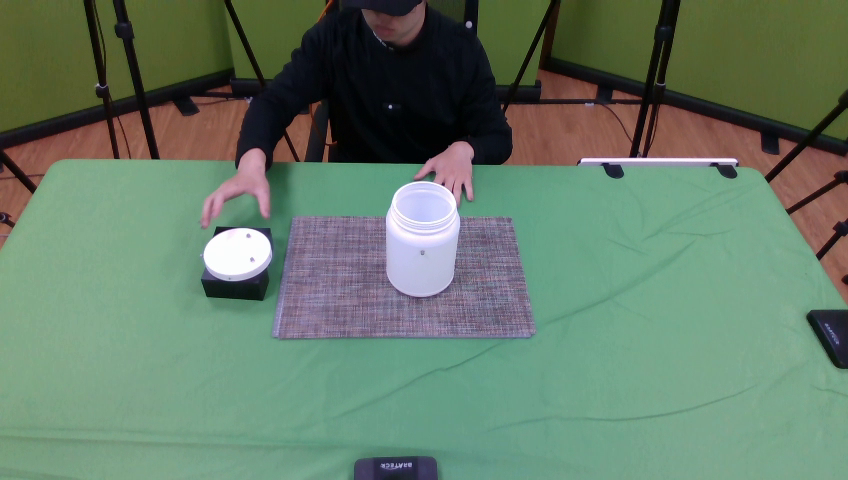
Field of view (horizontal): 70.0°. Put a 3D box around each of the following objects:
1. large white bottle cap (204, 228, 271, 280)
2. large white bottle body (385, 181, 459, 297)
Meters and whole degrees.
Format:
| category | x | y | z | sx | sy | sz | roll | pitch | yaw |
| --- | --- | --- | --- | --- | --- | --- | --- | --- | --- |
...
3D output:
| category | x | y | z | sx | sy | sz | roll | pitch | yaw |
| --- | --- | --- | --- | --- | --- | --- | --- | --- | --- |
| large white bottle cap | -0.333 | 0.024 | 1.084 | 0.115 | 0.018 | 0.114 | 2 | 46 | -2 |
| large white bottle body | -0.004 | -0.002 | 1.082 | 0.131 | 0.185 | 0.130 | 2 | 46 | -2 |
